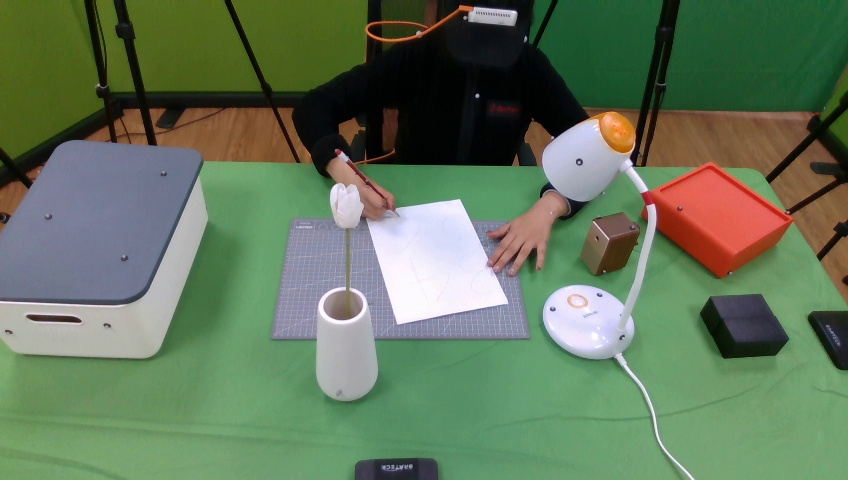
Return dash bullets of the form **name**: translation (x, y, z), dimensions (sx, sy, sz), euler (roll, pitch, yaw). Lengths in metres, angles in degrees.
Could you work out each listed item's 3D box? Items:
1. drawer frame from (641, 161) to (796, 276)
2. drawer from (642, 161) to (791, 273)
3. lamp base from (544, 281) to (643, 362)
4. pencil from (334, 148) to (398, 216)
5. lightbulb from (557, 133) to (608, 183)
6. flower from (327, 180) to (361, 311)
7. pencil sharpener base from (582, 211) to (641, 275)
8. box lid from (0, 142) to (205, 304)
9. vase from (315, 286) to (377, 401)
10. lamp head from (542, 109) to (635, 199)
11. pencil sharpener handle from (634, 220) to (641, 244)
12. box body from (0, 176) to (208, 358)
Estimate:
- **drawer frame**: translation (0.599, -0.051, 1.244), dimensions (0.202, 0.083, 0.212), euler (-24, 52, -25)
- **drawer**: translation (0.596, -0.051, 1.246), dimensions (0.194, 0.073, 0.210), euler (-23, 52, -25)
- **lamp base**: translation (0.303, 0.095, 1.014), dimensions (0.161, 0.181, 0.178), euler (-24, 54, -24)
- **pencil**: translation (-0.112, -0.112, 1.208), dimensions (0.012, 0.195, 0.012), euler (-30, 32, 21)
- **lightbulb**: translation (0.243, -0.127, 0.917), dimensions (0.060, 0.108, 0.059), euler (6, 67, -14)
- **flower**: translation (-0.110, 0.086, 0.867), dimensions (0.044, 0.363, 0.038), euler (22, 33, 36)
- **pencil sharpener base**: translation (0.357, 0.005, 1.156), dimensions (0.077, 0.107, 0.061), euler (-15, 48, -17)
- **box lid**: translation (-0.534, -0.044, 0.995), dimensions (0.263, 0.015, 0.369), euler (3, 45, -3)
- **vase**: translation (-0.119, 0.159, 0.911), dimensions (0.098, 0.201, 0.097), euler (2, 47, -2)
- **lamp head**: translation (0.253, -0.131, 0.893), dimensions (0.113, 0.123, 0.112), euler (10, 66, -24)
- **pencil sharpener handle**: translation (0.405, -0.015, 1.162), dimensions (0.031, 0.068, 0.035), euler (-15, 46, -17)
- **box body**: translation (-0.546, 0.017, 1.045), dimensions (0.254, 0.161, 0.361), euler (2, 46, -2)
